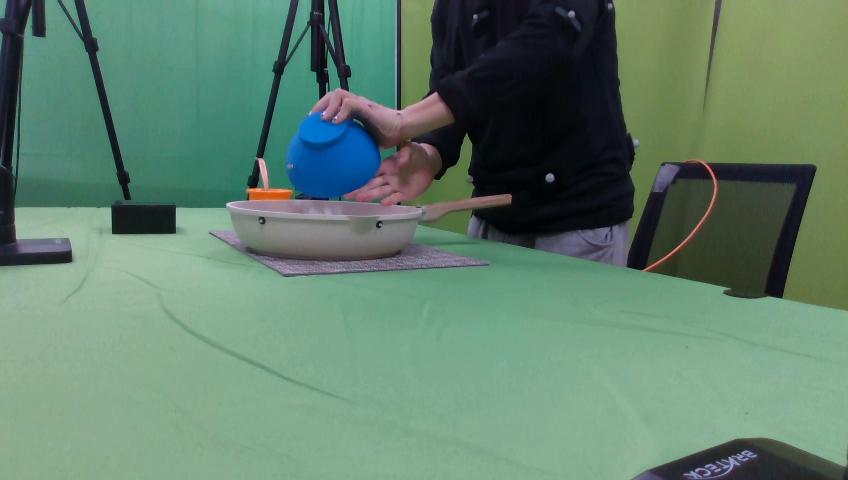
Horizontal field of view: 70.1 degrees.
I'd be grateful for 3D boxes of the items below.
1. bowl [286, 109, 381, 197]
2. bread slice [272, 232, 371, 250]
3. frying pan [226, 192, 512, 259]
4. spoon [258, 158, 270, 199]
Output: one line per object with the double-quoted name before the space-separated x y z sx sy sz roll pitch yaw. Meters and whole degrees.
"bowl" -0.147 -0.146 0.926 0.151 0.077 0.151 -5 50 6
"bread slice" -0.148 0.001 0.929 0.133 0.018 0.107 5 7 38
"frying pan" -0.058 -0.041 0.975 0.490 0.102 0.305 -11 13 -26
"spoon" -0.332 -0.107 1.269 0.042 0.021 0.193 1 52 -24
